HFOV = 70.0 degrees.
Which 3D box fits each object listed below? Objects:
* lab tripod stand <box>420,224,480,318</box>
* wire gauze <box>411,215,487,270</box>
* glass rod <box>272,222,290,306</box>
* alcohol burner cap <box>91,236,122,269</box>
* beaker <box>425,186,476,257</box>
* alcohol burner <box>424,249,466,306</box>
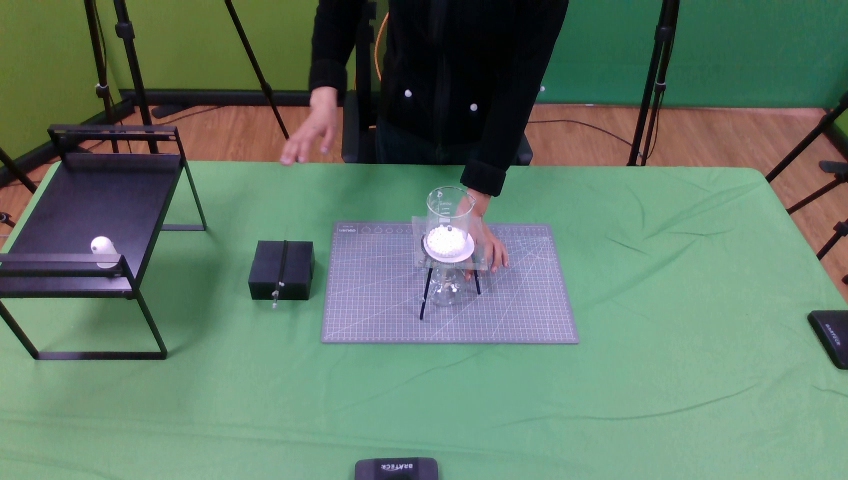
[{"bbox_3d":[0.034,0.052,1.070,0.148,0.132,0.147,3,48,-3],"label":"lab tripod stand"},{"bbox_3d":[0.041,0.003,1.026,0.125,0.011,0.120,0,46,-1],"label":"wire gauze"},{"bbox_3d":[-0.255,0.039,1.084,0.008,0.008,0.198,1,46,-3],"label":"glass rod"},{"bbox_3d":[-0.465,0.015,0.883,0.034,0.048,0.033,1,47,-1],"label":"alcohol burner cap"},{"bbox_3d":[0.041,-0.028,0.989,0.084,0.101,0.073,-12,48,-15],"label":"beaker"},{"bbox_3d":[0.038,0.061,1.075,0.078,0.120,0.077,1,45,-1],"label":"alcohol burner"}]
